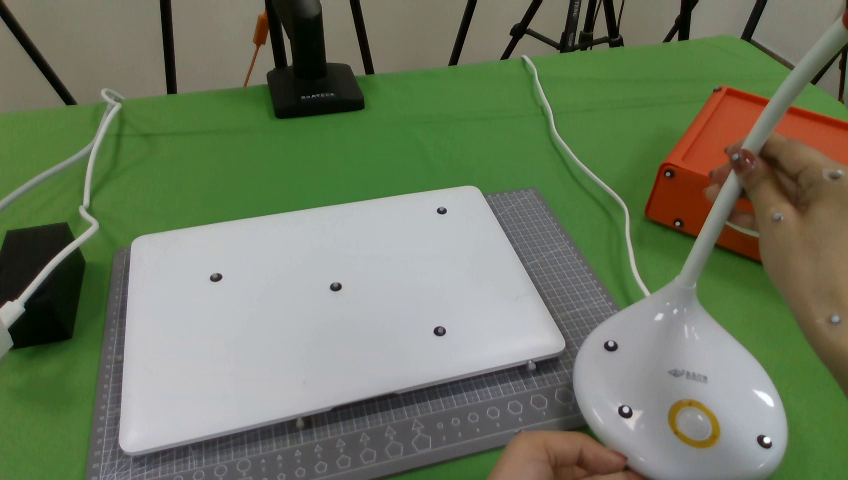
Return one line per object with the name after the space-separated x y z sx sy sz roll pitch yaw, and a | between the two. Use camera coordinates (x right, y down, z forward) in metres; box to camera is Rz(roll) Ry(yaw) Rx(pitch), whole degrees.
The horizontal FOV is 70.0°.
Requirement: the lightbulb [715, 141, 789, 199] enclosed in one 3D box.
0.372 -0.074 0.681 0.059 0.060 0.107 -1 26 -4 | lightbulb

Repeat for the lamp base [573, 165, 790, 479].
0.200 0.050 0.428 0.161 0.182 0.177 3 38 -2 | lamp base

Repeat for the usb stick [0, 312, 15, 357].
-0.330 0.074 0.456 0.021 0.059 0.027 18 42 2 | usb stick

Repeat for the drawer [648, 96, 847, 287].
0.378 -0.067 0.663 0.193 0.074 0.211 25 46 24 | drawer

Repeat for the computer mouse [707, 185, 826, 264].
0.355 -0.020 0.627 0.116 0.041 0.062 23 45 15 | computer mouse

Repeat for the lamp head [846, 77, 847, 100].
0.193 -0.099 0.181 0.112 0.113 0.122 7 77 5 | lamp head

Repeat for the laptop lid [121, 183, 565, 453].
-0.078 0.044 0.543 0.357 0.013 0.239 -9 46 -12 | laptop lid

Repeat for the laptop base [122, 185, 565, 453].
-0.079 0.051 0.553 0.355 0.023 0.233 -10 47 -14 | laptop base

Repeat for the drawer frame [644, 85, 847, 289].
0.378 -0.071 0.664 0.200 0.083 0.213 25 46 23 | drawer frame
